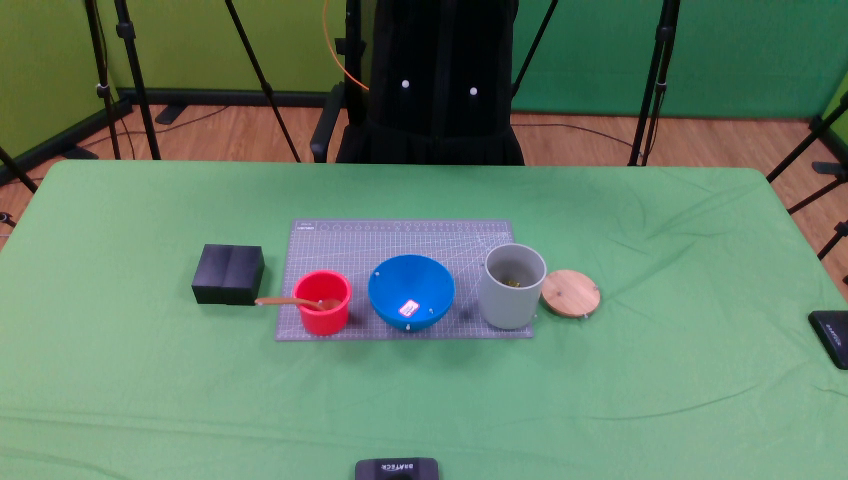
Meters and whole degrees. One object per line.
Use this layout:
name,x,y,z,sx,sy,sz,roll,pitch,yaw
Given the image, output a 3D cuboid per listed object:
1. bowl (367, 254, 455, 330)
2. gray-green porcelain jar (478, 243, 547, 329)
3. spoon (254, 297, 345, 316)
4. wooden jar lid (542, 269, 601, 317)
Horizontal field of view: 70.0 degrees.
bowl,-0.023,0.104,1.053,0.151,0.077,0.150,2,46,-2
gray-green porcelain jar,0.150,0.085,1.049,0.106,0.127,0.105,2,46,-2
spoon,-0.200,0.104,0.995,0.041,0.021,0.195,46,15,32
wooden jar lid,0.272,0.100,1.121,0.108,0.021,0.107,2,46,-2
